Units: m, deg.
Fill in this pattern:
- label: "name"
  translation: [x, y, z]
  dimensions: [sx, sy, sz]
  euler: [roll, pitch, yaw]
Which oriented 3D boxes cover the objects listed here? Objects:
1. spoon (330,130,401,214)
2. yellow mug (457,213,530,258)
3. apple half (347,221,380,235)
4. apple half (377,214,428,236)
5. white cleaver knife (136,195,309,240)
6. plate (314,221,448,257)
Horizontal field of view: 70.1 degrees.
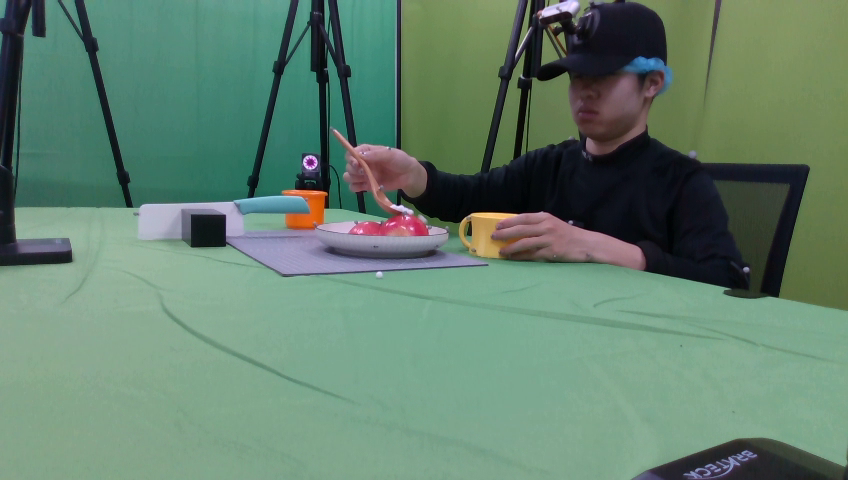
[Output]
- label: "spoon"
  translation: [-0.095, -0.109, 0.949]
  dimensions: [0.193, 0.021, 0.042]
  euler: [56, 22, 22]
- label: "yellow mug"
  translation: [0.109, -0.011, 0.992]
  dimensions: [0.130, 0.064, 0.100]
  euler: [6, 7, 36]
- label: "apple half"
  translation: [-0.088, -0.014, 0.985]
  dimensions: [0.081, 0.033, 0.081]
  euler: [5, 6, 0]
- label: "apple half"
  translation: [-0.034, -0.013, 0.924]
  dimensions: [0.080, 0.053, 0.075]
  euler: [5, 10, 16]
- label: "white cleaver knife"
  translation: [-0.337, -0.039, 1.037]
  dimensions: [0.288, 0.066, 0.021]
  euler: [-6, 15, -29]
- label: "plate"
  translation: [-0.067, -0.002, 0.948]
  dimensions: [0.209, 0.038, 0.209]
  euler: [3, 7, 0]
